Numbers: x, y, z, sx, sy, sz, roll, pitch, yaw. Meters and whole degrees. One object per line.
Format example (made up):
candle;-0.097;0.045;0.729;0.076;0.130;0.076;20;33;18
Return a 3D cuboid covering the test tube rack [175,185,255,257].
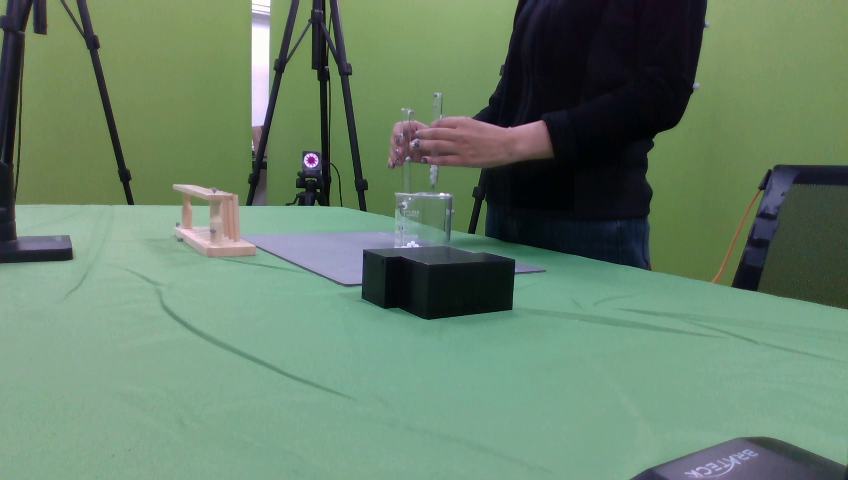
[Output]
test tube rack;-0.324;-0.035;0.922;0.067;0.085;0.241;-2;9;-31

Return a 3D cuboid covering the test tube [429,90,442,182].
test tube;0.019;-0.170;0.995;0.017;0.150;0.017;3;8;0

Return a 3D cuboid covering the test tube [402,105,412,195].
test tube;-0.030;-0.150;1.012;0.017;0.150;0.017;1;15;0

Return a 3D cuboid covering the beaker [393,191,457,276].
beaker;-0.003;-0.010;0.749;0.074;0.100;0.083;-3;8;-40
